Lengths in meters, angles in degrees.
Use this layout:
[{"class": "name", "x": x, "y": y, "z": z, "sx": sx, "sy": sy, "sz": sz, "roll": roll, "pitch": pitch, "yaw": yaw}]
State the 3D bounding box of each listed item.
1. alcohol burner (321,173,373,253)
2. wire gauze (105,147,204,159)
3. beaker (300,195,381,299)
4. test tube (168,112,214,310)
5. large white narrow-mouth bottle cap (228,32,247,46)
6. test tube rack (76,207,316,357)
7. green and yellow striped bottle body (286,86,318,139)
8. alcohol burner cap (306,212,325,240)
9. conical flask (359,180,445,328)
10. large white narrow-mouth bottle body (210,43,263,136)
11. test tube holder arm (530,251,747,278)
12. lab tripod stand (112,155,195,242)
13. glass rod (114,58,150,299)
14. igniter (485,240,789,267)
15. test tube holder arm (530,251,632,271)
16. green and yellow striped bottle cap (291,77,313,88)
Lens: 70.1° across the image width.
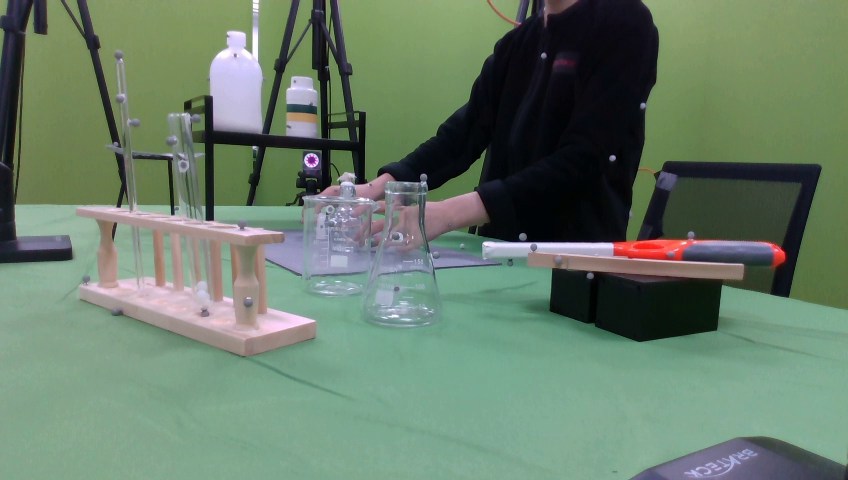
[{"class": "alcohol burner", "x": -0.115, "y": -0.041, "z": 0.905, "sx": 0.078, "sy": 0.119, "sz": 0.078, "roll": 0, "pitch": 6, "yaw": 0}, {"class": "wire gauze", "x": -0.407, "y": -0.131, "z": 0.928, "sx": 0.125, "sy": 0.011, "sz": 0.121, "roll": 2, "pitch": 6, "yaw": -11}, {"class": "beaker", "x": -0.087, "y": 0.006, "z": 0.626, "sx": 0.084, "sy": 0.100, "sz": 0.074, "roll": 1, "pitch": 8, "yaw": -17}, {"class": "test tube", "x": -0.175, "y": -0.020, "z": 0.455, "sx": 0.017, "sy": 0.150, "sz": 0.017, "roll": -4, "pitch": 9, "yaw": 1}, {"class": "large white narrow-mouth bottle cap", "x": -0.364, "y": -0.391, "z": 1.180, "sx": 0.038, "sy": 0.024, "sz": 0.037, "roll": 3, "pitch": 8, "yaw": 0}, {"class": "test tube rack", "x": -0.196, "y": 0.023, "z": 0.500, "sx": 0.241, "sy": 0.085, "sz": 0.067, "roll": 8, "pitch": 9, "yaw": 36}, {"class": "green and yellow striped bottle body", "x": -0.251, "y": -0.270, "z": 1.245, "sx": 0.063, "sy": 0.119, "sz": 0.063, "roll": 2, "pitch": 7, "yaw": 0}, {"class": "alcohol burner cap", "x": -0.186, "y": -0.024, "z": 1.027, "sx": 0.034, "sy": 0.048, "sz": 0.034, "roll": -1, "pitch": 6, "yaw": 0}, {"class": "conical flask", "x": -0.017, "y": 0.010, "z": 0.522, "sx": 0.075, "sy": 0.122, "sz": 0.075, "roll": 2, "pitch": 7, "yaw": 0}, {"class": "large white narrow-mouth bottle body", "x": -0.369, "y": -0.305, "z": 1.194, "sx": 0.102, "sy": 0.194, "sz": 0.102, "roll": 3, "pitch": 8, "yaw": 0}, {"class": "test tube holder arm", "x": 0.182, "y": 0.022, "z": 0.523, "sx": 0.178, "sy": 0.015, "sz": 0.013, "roll": 3, "pitch": 6, "yaw": 12}, {"class": "lab tripod stand", "x": -0.405, "y": -0.064, "z": 0.931, "sx": 0.148, "sy": 0.131, "sz": 0.148, "roll": 1, "pitch": 6, "yaw": 0}, {"class": "glass rod", "x": -0.237, "y": -0.044, "z": 0.492, "sx": 0.008, "sy": 0.199, "sz": 0.008, "roll": 1, "pitch": 15, "yaw": 0}, {"class": "igniter", "x": 0.197, "y": 0.012, "z": 0.585, "sx": 0.276, "sy": 0.025, "sz": 0.057, "roll": 1, "pitch": 5, "yaw": 12}, {"class": "test tube holder arm", "x": 0.139, "y": 0.019, "z": 0.538, "sx": 0.087, "sy": 0.015, "sz": 0.010, "roll": 3, "pitch": 6, "yaw": 13}, {"class": "green and yellow striped bottle cap", "x": -0.250, "y": -0.321, "z": 1.238, "sx": 0.045, "sy": 0.020, "sz": 0.045, "roll": 4, "pitch": 6, "yaw": 0}]
